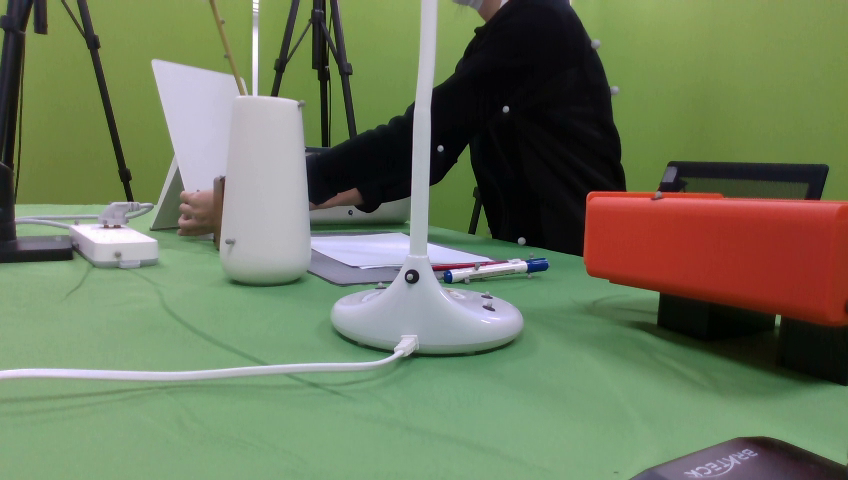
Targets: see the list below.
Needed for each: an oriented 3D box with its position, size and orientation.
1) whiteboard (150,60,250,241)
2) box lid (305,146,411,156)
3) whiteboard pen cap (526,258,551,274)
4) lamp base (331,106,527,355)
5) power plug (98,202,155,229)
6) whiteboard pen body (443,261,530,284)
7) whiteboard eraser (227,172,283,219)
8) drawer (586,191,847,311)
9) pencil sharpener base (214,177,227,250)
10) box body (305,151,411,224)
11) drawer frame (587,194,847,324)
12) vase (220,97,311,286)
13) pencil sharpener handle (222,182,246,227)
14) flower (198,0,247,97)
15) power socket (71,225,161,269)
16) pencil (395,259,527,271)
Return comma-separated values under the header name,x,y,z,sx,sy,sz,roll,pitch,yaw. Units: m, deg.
name,x,y,z,sx,sy,sz,roll,pitch,yaw
whiteboard,-0.408,-0.139,1.093,0.143,0.305,0.218,-15,-1,26
box lid,-0.229,-0.200,1.360,0.373,0.015,0.262,-3,9,-33
whiteboard pen cap,0.141,0.033,0.758,0.033,0.018,0.018,-7,11,-26
lamp base,0.006,-0.012,0.478,0.161,0.180,0.179,2,10,2
power plug,-0.416,-0.027,0.848,0.073,0.052,0.035,0,8,-28
whiteboard pen body,0.087,0.037,0.734,0.141,0.017,0.017,-6,10,-27
whiteboard eraser,-0.301,-0.077,1.078,0.041,0.055,0.113,-21,-22,23
drawer,0.282,0.001,0.513,0.195,0.073,0.210,-1,7,-29
pencil sharpener base,-0.265,-0.036,0.870,0.061,0.107,0.076,-2,8,-29
box body,-0.230,-0.126,1.371,0.366,0.160,0.253,-2,8,-33
drawer frame,0.285,0.004,0.508,0.203,0.082,0.212,-1,6,-29
vase,-0.172,-0.052,0.662,0.098,0.200,0.098,3,9,0
pencil sharpener handle,-0.289,-0.055,0.912,0.036,0.067,0.030,-2,8,-29
flower,-0.187,-0.133,0.648,0.038,0.362,0.044,-1,21,43
power socket,-0.408,0.004,0.793,0.072,0.032,0.225,-2,8,-38
pencil,0.052,0.034,0.784,0.195,0.012,0.012,-2,9,-25
